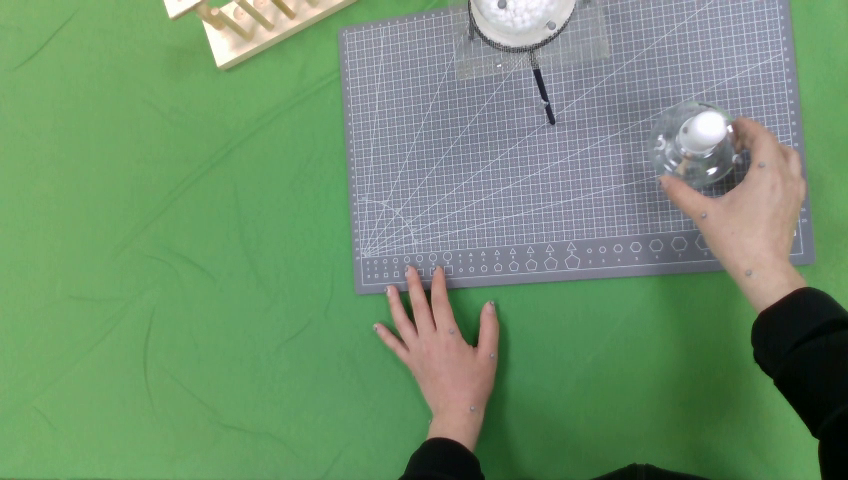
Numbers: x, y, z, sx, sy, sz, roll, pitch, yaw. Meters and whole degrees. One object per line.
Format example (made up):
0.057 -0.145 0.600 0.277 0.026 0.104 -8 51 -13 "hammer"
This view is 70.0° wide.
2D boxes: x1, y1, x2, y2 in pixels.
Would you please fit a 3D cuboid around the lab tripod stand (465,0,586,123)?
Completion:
0.097 -0.193 0.559 0.148 0.132 0.148 0 88 14 "lab tripod stand"

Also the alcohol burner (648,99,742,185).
0.238 -0.088 0.527 0.077 0.119 0.078 -1 87 14 "alcohol burner"

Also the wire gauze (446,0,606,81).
0.080 -0.197 0.496 0.125 0.011 0.121 -6 90 12 "wire gauze"

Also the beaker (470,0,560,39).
0.062 -0.199 0.451 0.083 0.100 0.074 9 90 16 "beaker"

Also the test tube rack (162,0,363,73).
-0.153 -0.276 0.659 0.242 0.085 0.066 -23 82 13 "test tube rack"

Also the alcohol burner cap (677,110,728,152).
0.228 -0.091 0.492 0.034 0.048 0.034 0 90 11 "alcohol burner cap"
